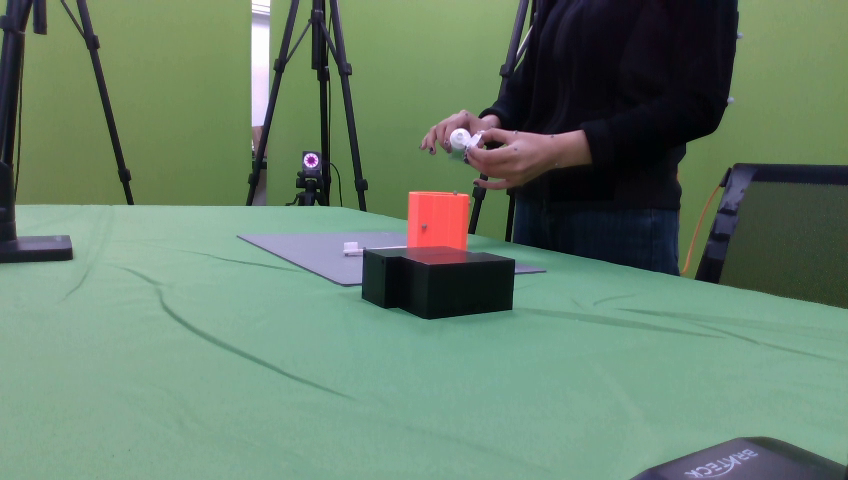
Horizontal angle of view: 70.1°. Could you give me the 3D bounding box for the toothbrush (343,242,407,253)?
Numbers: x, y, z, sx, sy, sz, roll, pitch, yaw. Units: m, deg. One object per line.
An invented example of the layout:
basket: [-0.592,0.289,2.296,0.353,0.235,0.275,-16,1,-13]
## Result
toothbrush: [-0.039,0.010,0.905,0.183,0.016,0.014,-1,-7,-36]

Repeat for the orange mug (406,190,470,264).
orange mug: [0.027,-0.023,0.866,0.083,0.101,0.126,6,12,24]

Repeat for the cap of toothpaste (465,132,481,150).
cap of toothpaste: [0.079,-0.162,0.980,0.011,0.037,0.037,37,1,-10]

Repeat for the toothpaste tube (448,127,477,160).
toothpaste tube: [0.068,-0.165,1.070,0.055,0.034,0.165,14,-4,5]
